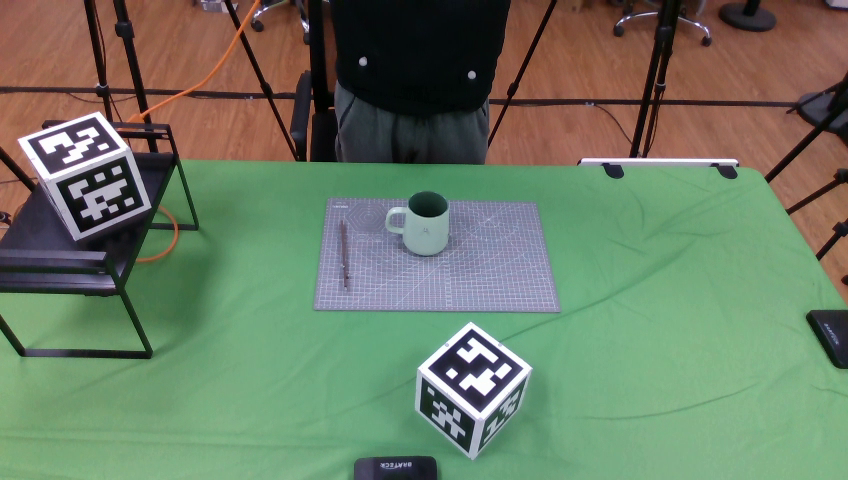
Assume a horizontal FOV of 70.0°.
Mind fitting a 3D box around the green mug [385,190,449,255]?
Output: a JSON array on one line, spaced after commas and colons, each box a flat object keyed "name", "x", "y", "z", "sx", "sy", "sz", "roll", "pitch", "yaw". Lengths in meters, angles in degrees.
[{"name": "green mug", "x": -0.013, "y": -0.033, "z": 1.166, "sx": 0.125, "sy": 0.105, "sz": 0.092, "roll": 2, "pitch": 46, "yaw": -2}]

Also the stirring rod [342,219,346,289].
[{"name": "stirring rod", "x": -0.154, "y": 0.024, "z": 1.161, "sx": 0.006, "sy": 0.014, "sz": 0.175, "roll": -7, "pitch": 47, "yaw": -2}]
